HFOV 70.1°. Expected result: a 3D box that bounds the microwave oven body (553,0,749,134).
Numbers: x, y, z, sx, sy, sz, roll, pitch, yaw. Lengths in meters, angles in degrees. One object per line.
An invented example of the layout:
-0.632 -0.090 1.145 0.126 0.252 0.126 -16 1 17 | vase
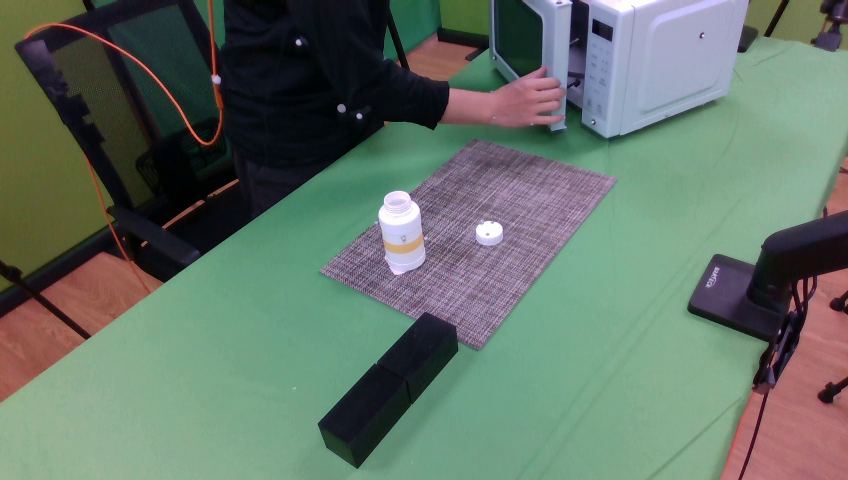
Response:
0.382 -0.444 1.246 0.327 0.261 0.437 -22 42 -16 | microwave oven body

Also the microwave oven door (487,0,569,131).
0.203 -0.410 1.224 0.039 0.245 0.353 -15 41 -8 | microwave oven door

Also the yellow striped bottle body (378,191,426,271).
-0.034 -0.016 0.910 0.063 0.121 0.062 -4 41 4 | yellow striped bottle body

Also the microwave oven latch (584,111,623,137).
0.337 -0.222 1.142 0.030 0.029 0.078 -21 42 -14 | microwave oven latch

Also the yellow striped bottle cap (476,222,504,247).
0.105 -0.010 0.966 0.044 0.019 0.044 -4 39 3 | yellow striped bottle cap
